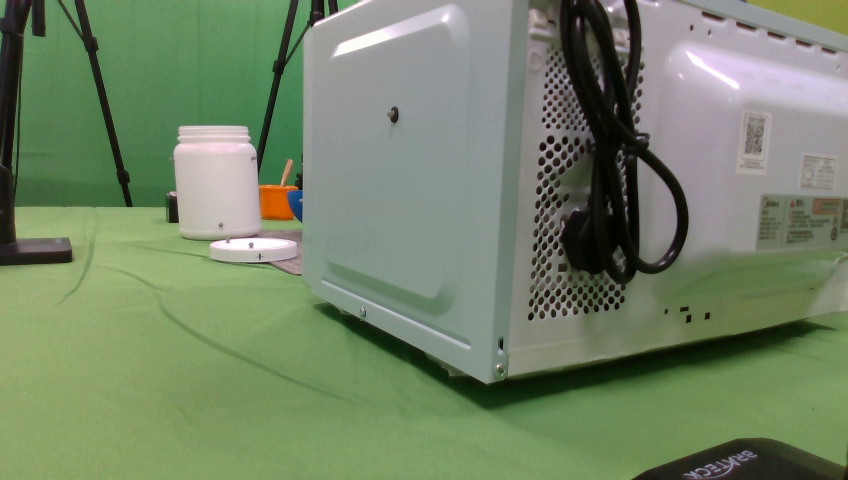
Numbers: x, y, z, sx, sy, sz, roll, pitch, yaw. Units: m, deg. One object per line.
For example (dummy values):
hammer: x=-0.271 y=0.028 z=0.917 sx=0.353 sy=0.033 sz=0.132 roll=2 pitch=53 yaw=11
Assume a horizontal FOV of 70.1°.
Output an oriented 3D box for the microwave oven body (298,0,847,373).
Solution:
microwave oven body: x=0.151 y=-0.055 z=0.543 sx=0.444 sy=0.260 sz=0.324 roll=-1 pitch=7 yaw=-33

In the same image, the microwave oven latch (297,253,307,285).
microwave oven latch: x=-0.082 y=0.027 z=0.582 sx=0.079 sy=0.029 sz=0.030 roll=-1 pitch=7 yaw=-33

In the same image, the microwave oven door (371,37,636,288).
microwave oven door: x=0.109 y=-0.080 z=0.686 sx=0.358 sy=0.243 sz=0.039 roll=-2 pitch=9 yaw=-33

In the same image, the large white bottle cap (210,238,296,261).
large white bottle cap: x=-0.236 y=0.012 z=0.839 sx=0.115 sy=0.018 sz=0.115 roll=2 pitch=7 yaw=0

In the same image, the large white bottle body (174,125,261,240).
large white bottle body: x=-0.349 y=-0.100 z=1.024 sx=0.131 sy=0.184 sz=0.130 roll=-1 pitch=9 yaw=0

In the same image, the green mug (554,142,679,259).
green mug: x=0.181 y=-0.037 z=0.584 sx=0.124 sy=0.105 sz=0.093 roll=3 pitch=5 yaw=44

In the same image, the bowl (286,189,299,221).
bowl: x=-0.179 y=-0.051 z=1.115 sx=0.151 sy=0.077 sz=0.151 roll=3 pitch=8 yaw=0

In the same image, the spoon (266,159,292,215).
spoon: x=-0.333 y=-0.127 z=1.423 sx=0.041 sy=0.193 sz=0.022 roll=0 pitch=-38 yaw=7

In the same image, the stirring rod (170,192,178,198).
stirring rod: x=-0.466 y=-0.098 z=1.283 sx=0.014 sy=0.006 sz=0.177 roll=42 pitch=21 yaw=17
